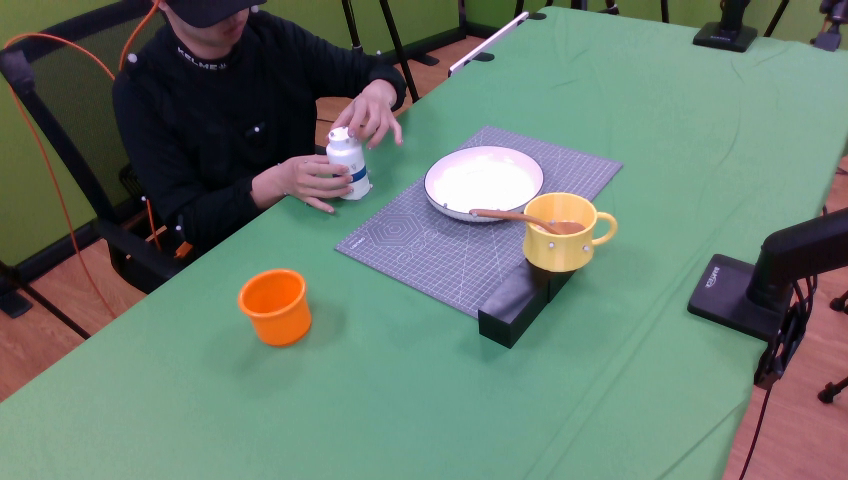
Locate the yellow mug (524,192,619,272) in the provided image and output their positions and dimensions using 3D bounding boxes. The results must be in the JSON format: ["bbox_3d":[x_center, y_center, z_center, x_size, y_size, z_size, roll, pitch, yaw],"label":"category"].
[{"bbox_3d":[0.206,-0.014,0.845,0.131,0.064,0.099,-4,41,2],"label":"yellow mug"}]

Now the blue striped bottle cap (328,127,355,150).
[{"bbox_3d":[-0.142,-0.174,1.037,0.044,0.021,0.044,-6,43,6],"label":"blue striped bottle cap"}]

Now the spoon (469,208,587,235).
[{"bbox_3d":[0.143,-0.026,0.817,0.195,0.021,0.041,12,34,-29],"label":"spoon"}]

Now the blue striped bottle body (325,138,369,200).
[{"bbox_3d":[-0.138,-0.136,1.071,0.063,0.121,0.063,-3,41,3],"label":"blue striped bottle body"}]

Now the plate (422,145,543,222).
[{"bbox_3d":[0.101,-0.094,1.048,0.207,0.039,0.206,-4,41,4],"label":"plate"}]
